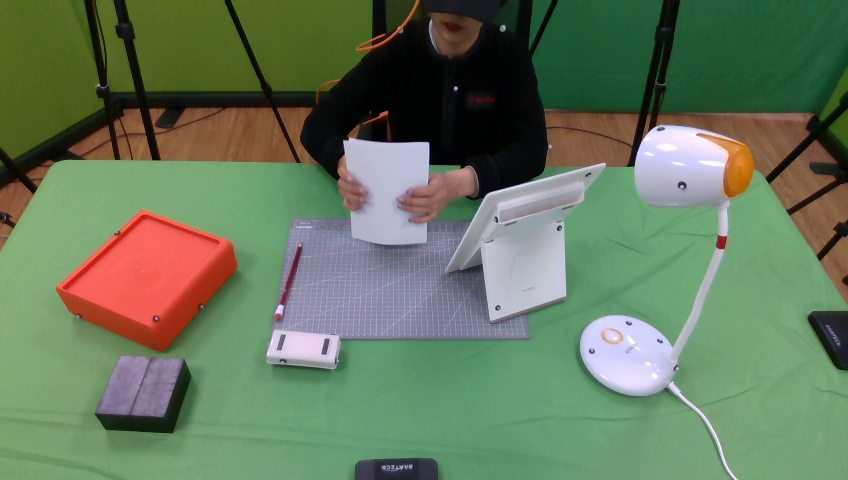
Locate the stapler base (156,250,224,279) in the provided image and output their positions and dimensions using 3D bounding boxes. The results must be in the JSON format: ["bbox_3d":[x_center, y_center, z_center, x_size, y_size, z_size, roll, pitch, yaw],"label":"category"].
[{"bbox_3d":[-0.431,0.040,1.110,0.130,0.024,0.041,11,38,17],"label":"stapler base"}]

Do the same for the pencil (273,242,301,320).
[{"bbox_3d":[-0.249,0.070,1.115,0.012,0.012,0.193,5,44,1],"label":"pencil"}]

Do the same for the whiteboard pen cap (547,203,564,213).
[{"bbox_3d":[0.277,-0.066,1.275,0.033,0.018,0.018,-18,50,-15],"label":"whiteboard pen cap"}]

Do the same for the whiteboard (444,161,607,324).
[{"bbox_3d":[0.186,0.025,1.029,0.217,0.306,0.143,-15,68,-18],"label":"whiteboard"}]

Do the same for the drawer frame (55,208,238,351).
[{"bbox_3d":[-0.474,0.062,1.059,0.201,0.083,0.213,18,48,12],"label":"drawer frame"}]

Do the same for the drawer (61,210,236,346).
[{"bbox_3d":[-0.474,0.061,1.063,0.194,0.073,0.211,19,49,13],"label":"drawer"}]

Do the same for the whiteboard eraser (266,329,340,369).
[{"bbox_3d":[-0.198,0.181,0.994,0.113,0.042,0.055,5,45,1],"label":"whiteboard eraser"}]

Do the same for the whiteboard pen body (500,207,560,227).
[{"bbox_3d":[0.222,-0.051,1.260,0.141,0.017,0.017,-15,49,-16],"label":"whiteboard pen body"}]

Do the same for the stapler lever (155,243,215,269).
[{"bbox_3d":[-0.433,0.023,1.097,0.118,0.040,0.026,14,39,14],"label":"stapler lever"}]

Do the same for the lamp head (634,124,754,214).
[{"bbox_3d":[0.351,-0.089,0.775,0.112,0.113,0.122,-30,30,-28],"label":"lamp head"}]

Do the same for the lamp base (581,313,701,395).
[{"bbox_3d":[0.361,0.144,0.973,0.178,0.181,0.160,34,53,23],"label":"lamp base"}]
